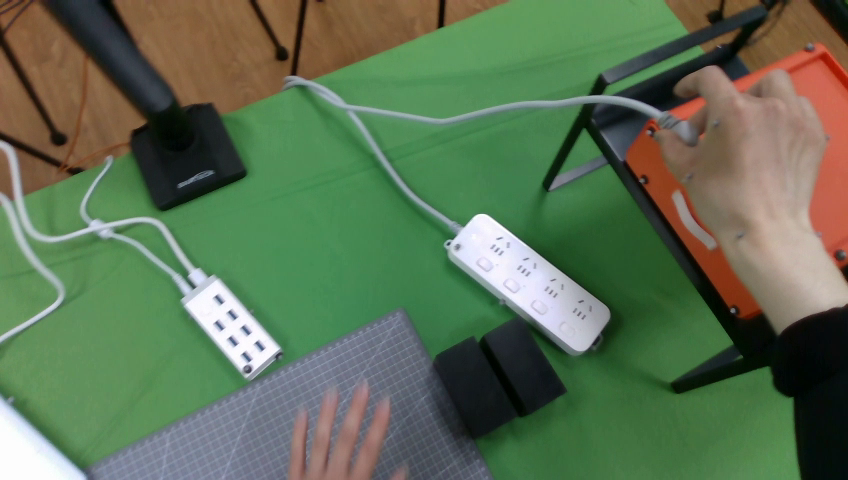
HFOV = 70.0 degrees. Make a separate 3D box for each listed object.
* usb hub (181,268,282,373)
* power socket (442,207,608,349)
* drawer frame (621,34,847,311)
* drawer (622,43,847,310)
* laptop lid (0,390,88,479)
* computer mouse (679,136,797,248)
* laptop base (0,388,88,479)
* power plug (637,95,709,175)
[{"bbox_3d":[-0.228,0.094,0.713,0.049,0.025,0.124,-42,78,-15],"label":"usb hub"},{"bbox_3d":[0.126,0.045,0.750,0.226,0.033,0.072,38,72,10],"label":"power socket"},{"bbox_3d":[0.339,-0.069,0.588,0.214,0.083,0.200,-27,74,-13],"label":"drawer frame"},{"bbox_3d":[0.336,-0.066,0.588,0.212,0.073,0.193,-26,73,-13],"label":"drawer"},{"bbox_3d":[-0.551,0.308,0.606,0.241,0.013,0.356,38,73,8],"label":"laptop lid"},{"bbox_3d":[0.310,-0.051,0.596,0.063,0.041,0.116,-31,73,-10],"label":"computer mouse"},{"bbox_3d":[-0.553,0.311,0.619,0.235,0.023,0.353,37,73,7],"label":"laptop base"},{"bbox_3d":[0.212,-0.090,0.516,0.035,0.053,0.072,-22,61,3],"label":"power plug"}]
